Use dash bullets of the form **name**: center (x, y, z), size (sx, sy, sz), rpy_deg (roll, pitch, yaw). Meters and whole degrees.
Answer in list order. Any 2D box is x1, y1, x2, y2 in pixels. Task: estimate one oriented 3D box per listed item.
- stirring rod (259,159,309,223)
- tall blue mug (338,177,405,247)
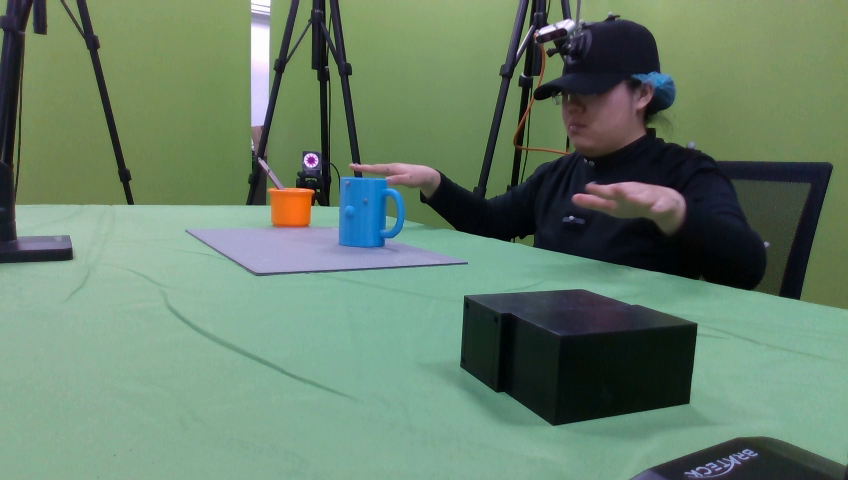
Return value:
- **stirring rod**: center (-0.287, -0.101, 1.233), size (0.175, 0.006, 0.014), rpy_deg (51, 32, 16)
- **tall blue mug**: center (-0.083, -0.046, 0.977), size (0.107, 0.108, 0.078), rpy_deg (2, 6, -1)
